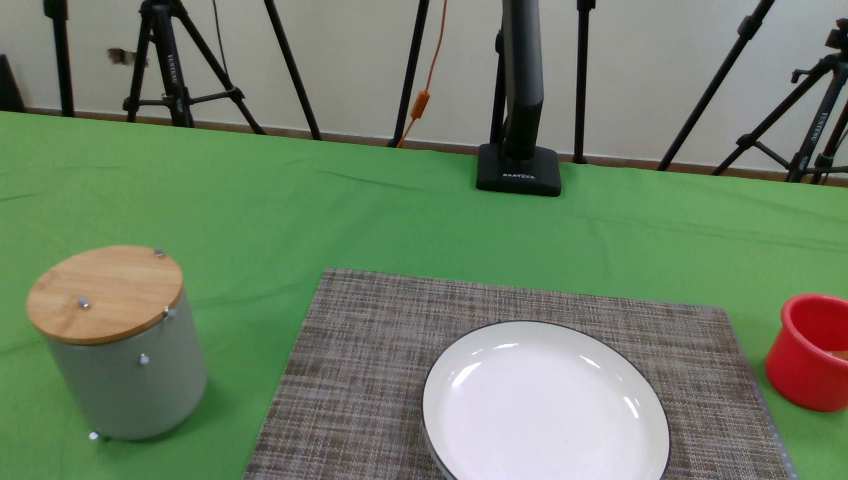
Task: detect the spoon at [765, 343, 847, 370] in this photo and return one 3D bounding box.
[{"bbox_3d":[0.404,0.097,0.535,0.041,0.021,0.193,-33,6,-37],"label":"spoon"}]

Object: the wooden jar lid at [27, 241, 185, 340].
[{"bbox_3d":[-0.241,0.040,0.466,0.108,0.021,0.107,5,36,-4],"label":"wooden jar lid"}]

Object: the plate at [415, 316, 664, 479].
[{"bbox_3d":[0.096,0.151,0.523,0.208,0.039,0.205,2,38,-2],"label":"plate"}]

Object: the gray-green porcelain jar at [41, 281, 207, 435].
[{"bbox_3d":[-0.243,0.091,0.506,0.106,0.127,0.105,3,38,-2],"label":"gray-green porcelain jar"}]
